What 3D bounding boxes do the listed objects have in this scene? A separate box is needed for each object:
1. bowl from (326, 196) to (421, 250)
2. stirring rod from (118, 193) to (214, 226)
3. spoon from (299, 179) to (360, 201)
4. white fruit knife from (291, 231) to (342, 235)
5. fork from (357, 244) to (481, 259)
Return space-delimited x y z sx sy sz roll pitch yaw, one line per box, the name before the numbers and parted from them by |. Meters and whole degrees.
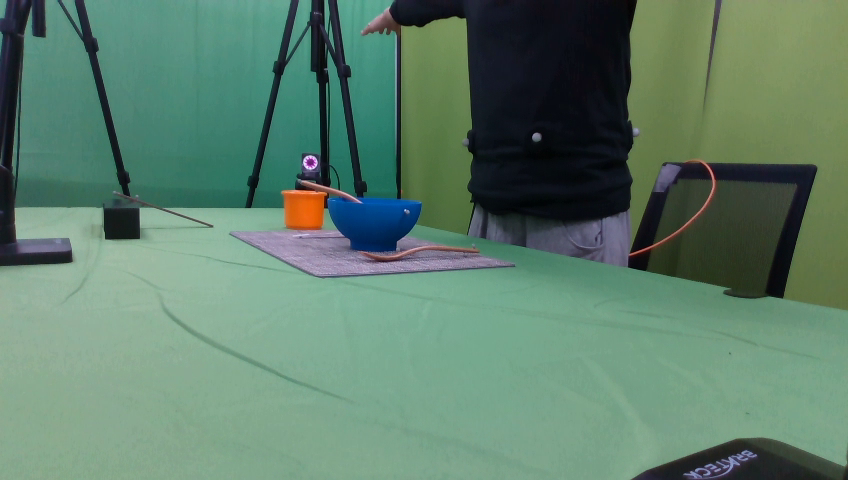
bowl | -0.080 -0.027 0.957 0.151 0.077 0.151 2 7 0
stirring rod | -0.484 -0.056 1.142 0.177 0.006 0.014 21 -6 -28
spoon | -0.123 -0.068 0.993 0.193 0.021 0.042 25 9 17
white fruit knife | -0.138 -0.015 1.092 0.208 0.016 0.027 -3 -2 -29
fork | -0.001 0.016 0.877 0.208 0.018 0.028 -5 1 -33
